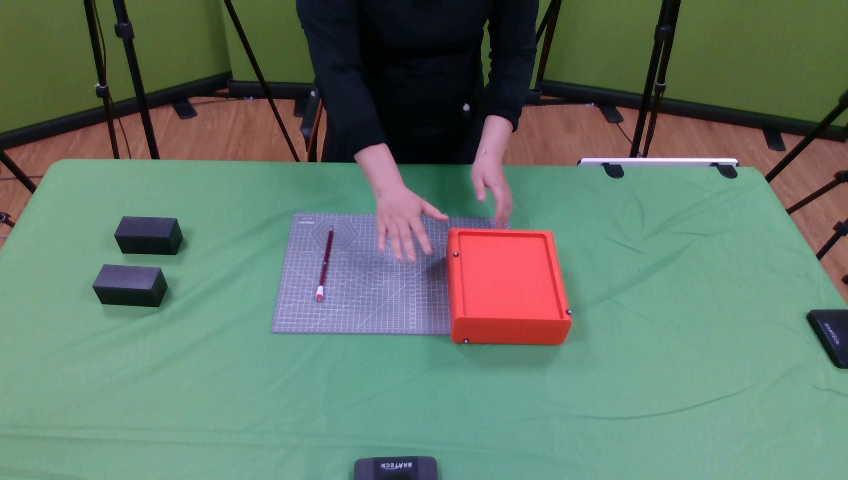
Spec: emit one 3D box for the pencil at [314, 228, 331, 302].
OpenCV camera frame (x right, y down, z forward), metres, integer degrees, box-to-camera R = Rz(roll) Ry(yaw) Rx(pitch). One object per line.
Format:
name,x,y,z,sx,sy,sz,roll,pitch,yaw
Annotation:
pencil,-0.190,0.041,1.149,0.012,0.012,0.193,3,44,-2

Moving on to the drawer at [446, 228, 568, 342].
drawer,0.142,0.078,1.089,0.195,0.073,0.210,2,47,-4

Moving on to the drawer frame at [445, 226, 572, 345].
drawer frame,0.144,0.078,1.087,0.202,0.083,0.212,2,47,-4
